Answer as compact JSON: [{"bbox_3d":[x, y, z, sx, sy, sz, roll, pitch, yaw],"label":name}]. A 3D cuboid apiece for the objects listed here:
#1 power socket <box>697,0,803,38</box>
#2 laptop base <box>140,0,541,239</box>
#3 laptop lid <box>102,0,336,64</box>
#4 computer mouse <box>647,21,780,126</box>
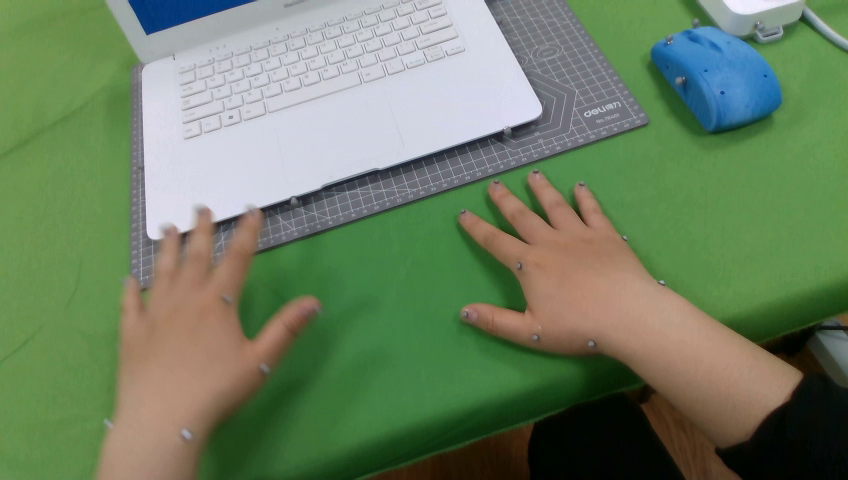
[{"bbox_3d":[0.279,-0.279,0.585,0.072,0.033,0.224,-16,56,1],"label":"power socket"},{"bbox_3d":[-0.094,-0.142,0.576,0.354,0.023,0.233,-19,59,-2],"label":"laptop base"},{"bbox_3d":[-0.153,-0.317,0.560,0.357,0.244,0.013,-20,43,-1],"label":"laptop lid"},{"bbox_3d":[0.238,-0.146,0.504,0.063,0.041,0.116,-19,51,1],"label":"computer mouse"}]
